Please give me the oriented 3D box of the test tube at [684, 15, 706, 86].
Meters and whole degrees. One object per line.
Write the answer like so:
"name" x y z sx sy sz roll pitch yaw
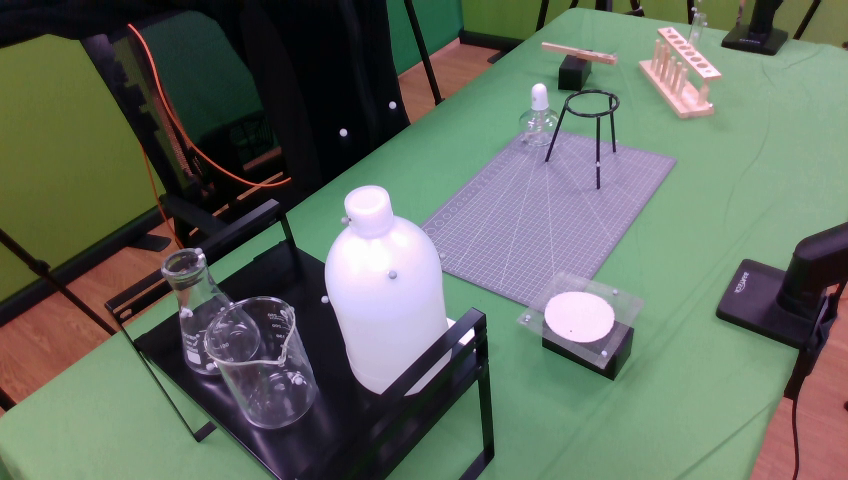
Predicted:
"test tube" 0.540 -0.378 1.215 0.017 0.151 0.017 -2 44 3

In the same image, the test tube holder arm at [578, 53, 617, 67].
"test tube holder arm" 0.376 -0.393 1.314 0.087 0.015 0.010 26 51 32

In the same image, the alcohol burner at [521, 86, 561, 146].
"alcohol burner" 0.223 -0.241 1.155 0.078 0.119 0.077 -5 43 5

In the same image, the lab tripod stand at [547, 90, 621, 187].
"lab tripod stand" 0.288 -0.184 1.062 0.148 0.132 0.147 -6 41 6

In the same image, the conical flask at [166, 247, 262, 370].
"conical flask" -0.209 0.064 0.584 0.075 0.122 0.075 -5 40 4

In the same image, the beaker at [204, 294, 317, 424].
"beaker" -0.137 0.110 0.536 0.083 0.101 0.074 30 53 36

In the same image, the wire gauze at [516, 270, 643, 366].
"wire gauze" 0.200 0.093 0.777 0.124 0.011 0.122 23 49 32

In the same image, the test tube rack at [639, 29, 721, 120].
"test tube rack" 0.527 -0.351 1.262 0.067 0.085 0.241 -8 40 1

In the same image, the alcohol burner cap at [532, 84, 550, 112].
"alcohol burner cap" 0.218 -0.268 1.133 0.034 0.048 0.033 -8 36 7

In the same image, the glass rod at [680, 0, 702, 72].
"glass rod" 0.542 -0.417 1.233 0.008 0.200 0.008 1 40 0

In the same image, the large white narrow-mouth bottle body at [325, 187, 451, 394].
"large white narrow-mouth bottle body" -0.033 0.040 0.527 0.102 0.195 0.101 -5 40 4

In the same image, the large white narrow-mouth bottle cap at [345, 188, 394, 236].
"large white narrow-mouth bottle cap" -0.042 -0.023 0.471 0.038 0.024 0.037 -4 40 4

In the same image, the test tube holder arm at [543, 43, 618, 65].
"test tube holder arm" 0.344 -0.413 1.341 0.177 0.015 0.013 25 50 31

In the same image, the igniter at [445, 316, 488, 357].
"igniter" -0.030 0.095 0.872 0.274 0.025 0.057 23 60 31
